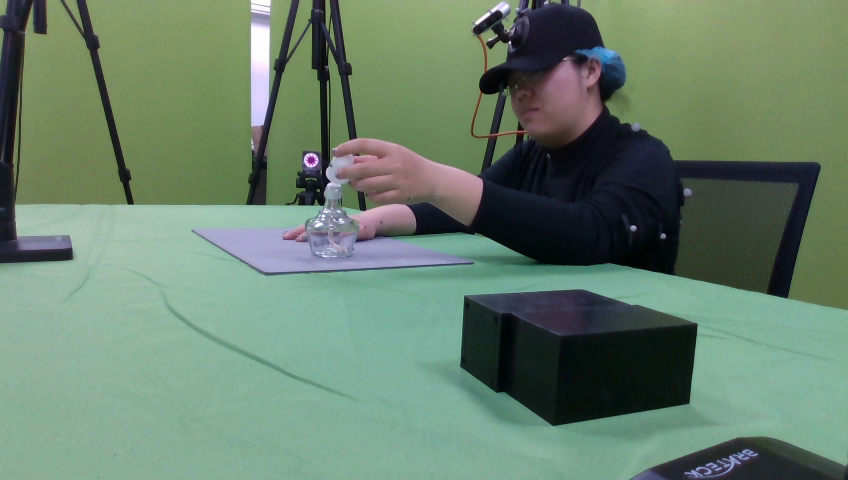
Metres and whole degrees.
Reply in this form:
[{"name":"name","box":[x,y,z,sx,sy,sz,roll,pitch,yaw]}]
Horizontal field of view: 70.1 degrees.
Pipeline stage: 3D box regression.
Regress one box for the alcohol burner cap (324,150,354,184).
[{"name":"alcohol burner cap","box":[-0.110,-0.100,0.800,0.034,0.033,0.048,-1,-31,-26]}]

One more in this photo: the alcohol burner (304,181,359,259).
[{"name":"alcohol burner","box":[-0.130,-0.034,0.851,0.078,0.119,0.078,2,5,0]}]
